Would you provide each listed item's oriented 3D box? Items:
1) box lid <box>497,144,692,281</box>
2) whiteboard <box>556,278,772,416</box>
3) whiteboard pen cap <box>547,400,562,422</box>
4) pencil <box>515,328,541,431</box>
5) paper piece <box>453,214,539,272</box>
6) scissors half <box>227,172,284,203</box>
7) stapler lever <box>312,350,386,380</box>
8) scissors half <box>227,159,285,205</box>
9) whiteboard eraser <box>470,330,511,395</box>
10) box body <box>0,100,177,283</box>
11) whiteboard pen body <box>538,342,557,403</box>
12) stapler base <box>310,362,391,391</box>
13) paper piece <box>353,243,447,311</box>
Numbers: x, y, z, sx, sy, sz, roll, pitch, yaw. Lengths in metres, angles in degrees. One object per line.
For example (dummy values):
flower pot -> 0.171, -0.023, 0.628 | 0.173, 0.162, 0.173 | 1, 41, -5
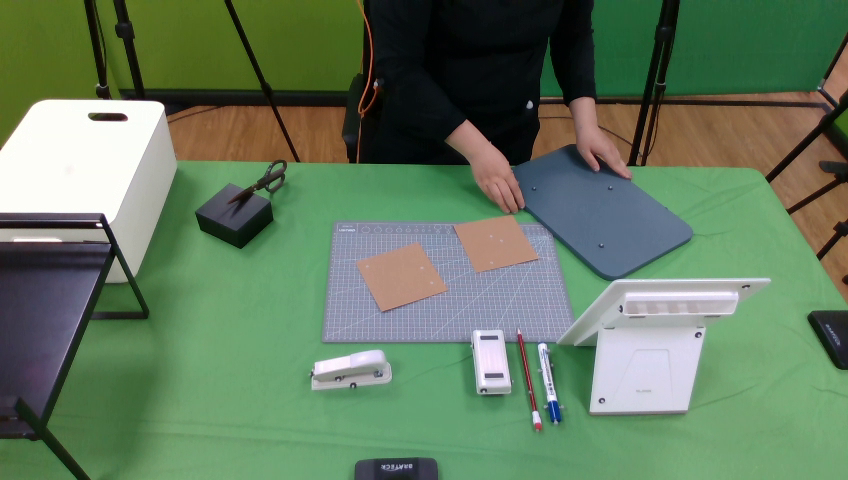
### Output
box lid -> 0.360, -0.074, 1.305 | 0.263, 0.015, 0.369 | -24, 52, -25
whiteboard -> 0.347, 0.174, 0.903 | 0.217, 0.306, 0.143 | 1, 65, -4
whiteboard pen cap -> 0.205, 0.269, 0.956 | 0.018, 0.018, 0.033 | 0, 47, -5
pencil -> 0.169, 0.224, 1.002 | 0.012, 0.012, 0.192 | -2, 46, -6
paper piece -> 0.142, 0.003, 1.213 | 0.135, 0.004, 0.135 | -11, 47, -14
scissors half -> -0.340, -0.101, 1.230 | 0.013, 0.040, 0.175 | 22, 28, 17
stapler lever -> -0.120, 0.198, 0.963 | 0.118, 0.040, 0.026 | -4, 44, -8
scissors half -> -0.336, -0.117, 1.218 | 0.013, 0.040, 0.175 | 26, 47, 13
whiteboard eraser -> 0.109, 0.202, 0.998 | 0.055, 0.042, 0.112 | 1, 46, -5
box body -> -0.639, -0.095, 1.140 | 0.254, 0.161, 0.361 | 0, 46, -4
whiteboard pen body -> 0.205, 0.228, 0.997 | 0.017, 0.017, 0.140 | 1, 46, -3
stapler base -> -0.119, 0.215, 0.980 | 0.131, 0.024, 0.041 | -5, 44, -7
paper piece -> -0.046, 0.066, 1.137 | 0.136, 0.009, 0.137 | -14, 47, -22
